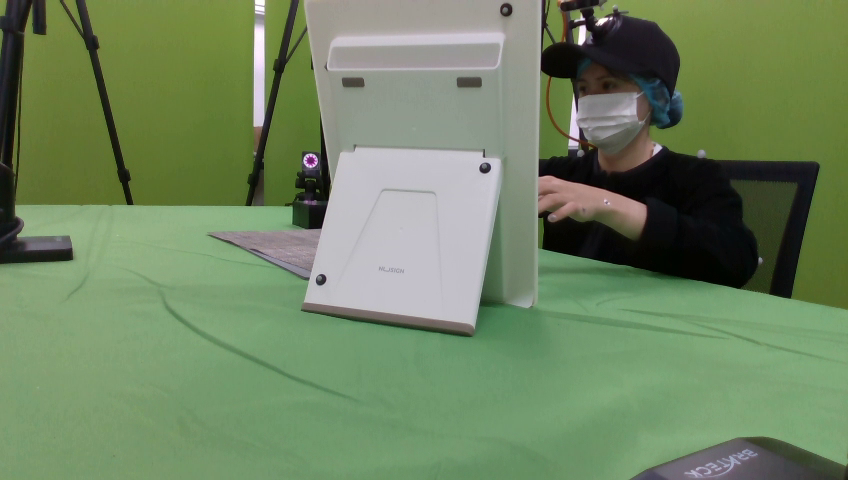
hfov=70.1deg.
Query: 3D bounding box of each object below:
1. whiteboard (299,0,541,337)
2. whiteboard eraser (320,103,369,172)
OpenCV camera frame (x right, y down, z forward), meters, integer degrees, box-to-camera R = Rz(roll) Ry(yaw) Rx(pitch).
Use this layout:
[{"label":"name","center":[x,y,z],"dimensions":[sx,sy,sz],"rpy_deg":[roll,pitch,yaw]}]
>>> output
[{"label":"whiteboard","center":[-0.021,-0.051,0.523],"dimensions":[0.216,0.305,0.144],"rpy_deg":[6,27,20]},{"label":"whiteboard eraser","center":[-0.114,-0.142,0.871],"dimensions":[0.055,0.042,0.113],"rpy_deg":[18,-28,11]}]
